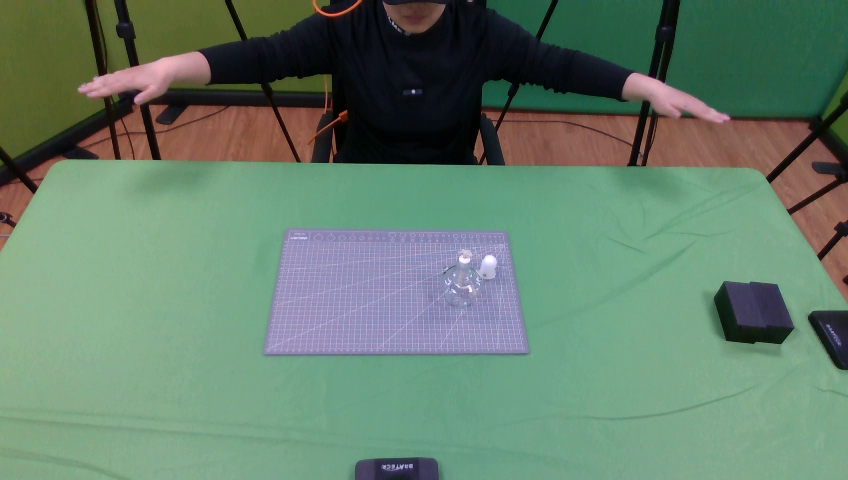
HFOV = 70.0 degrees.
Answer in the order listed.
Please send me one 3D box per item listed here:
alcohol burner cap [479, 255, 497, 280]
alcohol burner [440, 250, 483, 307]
[{"bbox_3d":[0.122,0.050,1.143,0.034,0.048,0.033,2,45,-2],"label":"alcohol burner cap"},{"bbox_3d":[0.068,0.063,1.076,0.078,0.120,0.077,1,45,-1],"label":"alcohol burner"}]
